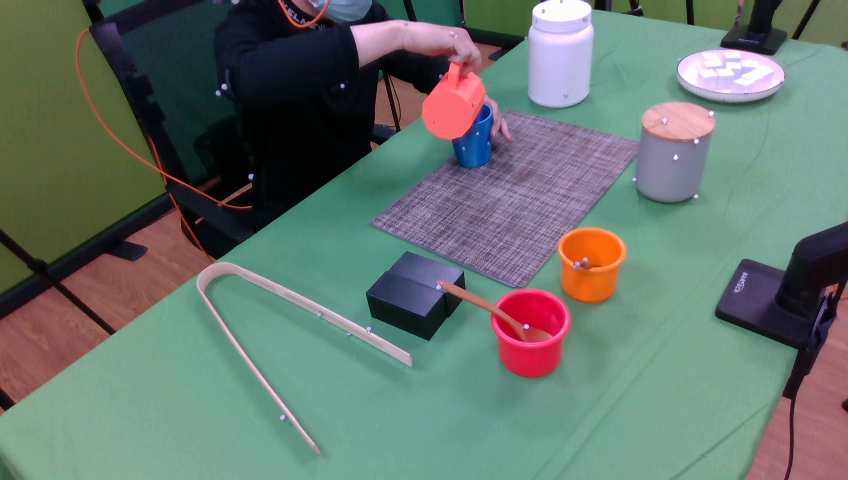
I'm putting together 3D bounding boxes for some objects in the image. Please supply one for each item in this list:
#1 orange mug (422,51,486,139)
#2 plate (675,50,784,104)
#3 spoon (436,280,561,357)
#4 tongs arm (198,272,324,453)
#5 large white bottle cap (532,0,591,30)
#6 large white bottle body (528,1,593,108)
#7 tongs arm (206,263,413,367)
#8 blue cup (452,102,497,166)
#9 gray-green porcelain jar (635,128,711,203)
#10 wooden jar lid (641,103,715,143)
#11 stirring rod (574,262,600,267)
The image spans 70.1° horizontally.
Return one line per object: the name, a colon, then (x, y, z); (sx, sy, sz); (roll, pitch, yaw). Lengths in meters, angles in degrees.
orange mug: (0.054, -0.244, 1.004); (0.083, 0.126, 0.101); (15, 34, 10)
plate: (0.631, -0.336, 1.262); (0.207, 0.039, 0.206); (-4, 41, 4)
spoon: (0.096, 0.095, 0.757); (0.195, 0.021, 0.041); (34, 41, -20)
tongs arm: (-0.236, 0.154, 0.830); (0.028, 0.028, 0.384); (-36, 47, -18)
large white bottle cap: (0.274, -0.449, 1.204); (0.115, 0.018, 0.114); (-4, 41, 4)
large white bottle body: (0.283, -0.386, 1.259); (0.130, 0.185, 0.130); (-5, 41, 5)
tongs arm: (-0.179, 0.107, 0.870); (0.381, 0.026, 0.051); (23, 54, 32)
blue cup: (0.089, -0.193, 1.121); (0.092, 0.101, 0.092); (-6, 42, 6)
gray-green porcelain jar: (0.405, -0.133, 0.992); (0.106, 0.127, 0.105); (-4, 40, 4)
wooden jar lid: (0.398, -0.180, 0.952); (0.108, 0.021, 0.108); (-4, 43, 4)
stirring rod: (0.222, 0.033, 0.816); (0.014, 0.006, 0.177); (8, 1, 22)
